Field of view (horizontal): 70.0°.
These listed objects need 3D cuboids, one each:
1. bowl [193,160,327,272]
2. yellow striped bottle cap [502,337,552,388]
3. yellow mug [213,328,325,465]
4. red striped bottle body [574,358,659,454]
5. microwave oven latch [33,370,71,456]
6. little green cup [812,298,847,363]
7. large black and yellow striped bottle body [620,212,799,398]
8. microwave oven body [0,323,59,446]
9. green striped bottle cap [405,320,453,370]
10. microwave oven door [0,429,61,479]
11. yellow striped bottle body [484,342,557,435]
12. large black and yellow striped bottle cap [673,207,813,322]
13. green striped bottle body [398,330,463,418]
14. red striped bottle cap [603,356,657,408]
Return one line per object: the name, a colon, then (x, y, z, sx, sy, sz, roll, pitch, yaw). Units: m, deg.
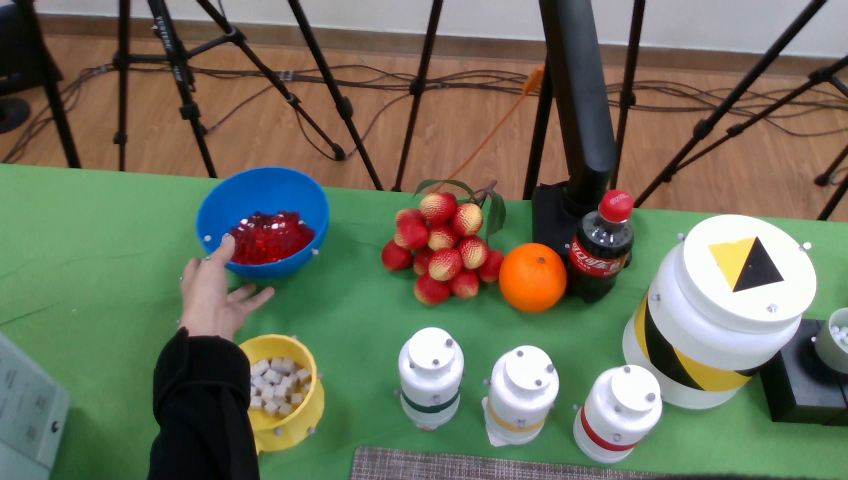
bowl: (-0.188, -0.015, 0.729, 0.151, 0.077, 0.150, 1, 55, 0)
yellow striped bottle cap: (0.094, 0.111, 0.551, 0.044, 0.019, 0.044, 0, 56, 0)
yellow mug: (-0.160, 0.161, 0.611, 0.100, 0.064, 0.130, 12, 56, 9)
red striped bottle body: (0.185, 0.157, 0.583, 0.063, 0.121, 0.062, -1, 53, 2)
microwave oven latch: (-0.373, 0.171, 0.596, 0.030, 0.030, 0.078, -2, 55, -2)
little green cup: (0.432, 0.095, 0.618, 0.061, 0.039, 0.061, 1, 53, -1)
large black and yellow striped bottle body: (0.284, 0.067, 0.609, 0.131, 0.185, 0.129, 0, 55, 0)
microwave oven body: (-0.508, 0.266, 0.409, 0.326, 0.262, 0.437, -3, 55, -3)
green striped bottle cap: (0.004, 0.096, 0.560, 0.044, 0.020, 0.044, 2, 55, -2)
microwave oven door: (-0.357, 0.289, 0.388, 0.039, 0.246, 0.352, -4, 55, -1)
yellow striped bottle body: (0.094, 0.141, 0.594, 0.063, 0.121, 0.062, 0, 54, 1)
large black and yellow striped bottle cap: (0.283, 0.019, 0.540, 0.115, 0.019, 0.114, 0, 53, 0)
green striped bottle body: (0.006, 0.127, 0.603, 0.063, 0.120, 0.062, 1, 54, -1)
red striped bottle cap: (0.184, 0.126, 0.541, 0.044, 0.018, 0.044, 3, 53, -3)
